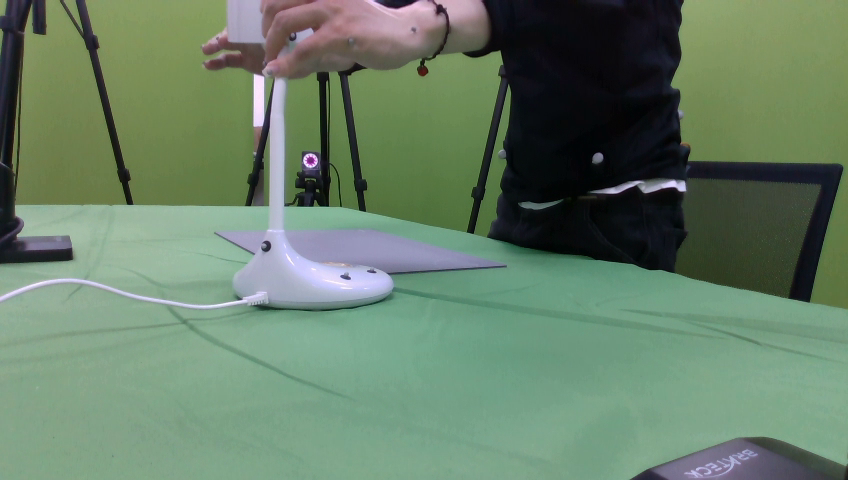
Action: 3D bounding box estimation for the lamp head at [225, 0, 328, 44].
[{"bbox_3d":[-0.164,-0.274,0.658,0.112,0.123,0.112,1,25,0],"label":"lamp head"}]

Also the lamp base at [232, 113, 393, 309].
[{"bbox_3d":[-0.113,-0.032,0.594,0.160,0.180,0.179,4,10,18],"label":"lamp base"}]

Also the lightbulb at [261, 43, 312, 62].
[{"bbox_3d":[-0.158,-0.253,0.671,0.059,0.107,0.059,-7,18,3],"label":"lightbulb"}]
